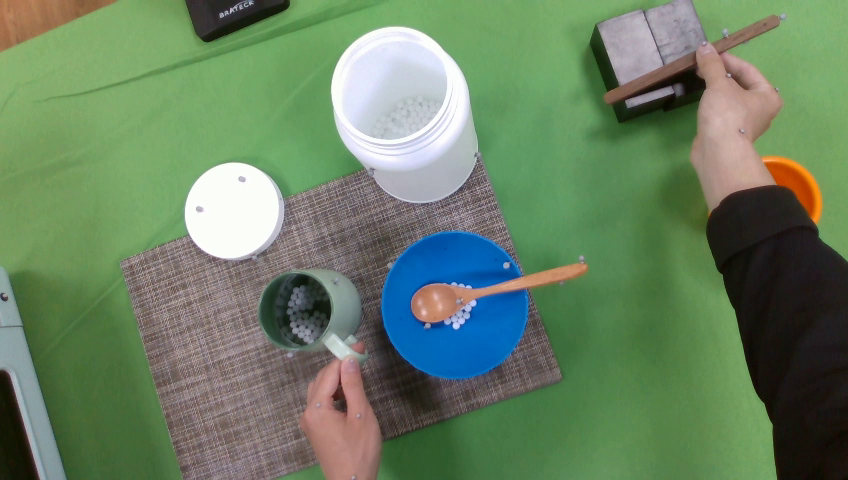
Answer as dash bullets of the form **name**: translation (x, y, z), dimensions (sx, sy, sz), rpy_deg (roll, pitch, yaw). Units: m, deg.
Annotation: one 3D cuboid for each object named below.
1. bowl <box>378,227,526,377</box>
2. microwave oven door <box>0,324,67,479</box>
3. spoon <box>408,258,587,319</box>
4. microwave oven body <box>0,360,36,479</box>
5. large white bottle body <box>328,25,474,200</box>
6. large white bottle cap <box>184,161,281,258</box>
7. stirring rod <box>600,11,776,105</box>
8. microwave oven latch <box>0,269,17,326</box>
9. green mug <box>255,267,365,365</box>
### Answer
- **bowl**: translation (0.032, 0.065, 0.645), dimensions (0.151, 0.077, 0.151), rpy_deg (-1, 85, 7)
- **microwave oven door**: translation (-0.446, 0.258, 0.586), dimensions (0.039, 0.244, 0.354), rpy_deg (-22, 83, 4)
- **spoon**: translation (0.069, 0.047, 0.613), dimensions (0.193, 0.022, 0.041), rpy_deg (-15, 85, 29)
- **microwave oven body**: translation (-0.597, 0.274, 0.607), dimensions (0.326, 0.261, 0.440), rpy_deg (-22, 84, 4)
- **large white bottle body**: translation (-0.019, -0.122, 0.612), dimensions (0.130, 0.185, 0.130), rpy_deg (-1, 81, 8)
- **large white bottle cap**: translation (-0.226, -0.036, 0.713), dimensions (0.115, 0.018, 0.114), rpy_deg (-1, 84, 6)
- **stirring rod**: translation (0.263, -0.182, 0.612), dimensions (0.176, 0.006, 0.014), rpy_deg (-25, 67, 19)
- **microwave oven latch**: translation (-0.510, 0.065, 0.712), dimensions (0.030, 0.029, 0.079), rpy_deg (-21, 84, 4)
- **green mug**: translation (-0.111, 0.084, 0.646), dimensions (0.125, 0.105, 0.092), rpy_deg (43, 90, 8)
